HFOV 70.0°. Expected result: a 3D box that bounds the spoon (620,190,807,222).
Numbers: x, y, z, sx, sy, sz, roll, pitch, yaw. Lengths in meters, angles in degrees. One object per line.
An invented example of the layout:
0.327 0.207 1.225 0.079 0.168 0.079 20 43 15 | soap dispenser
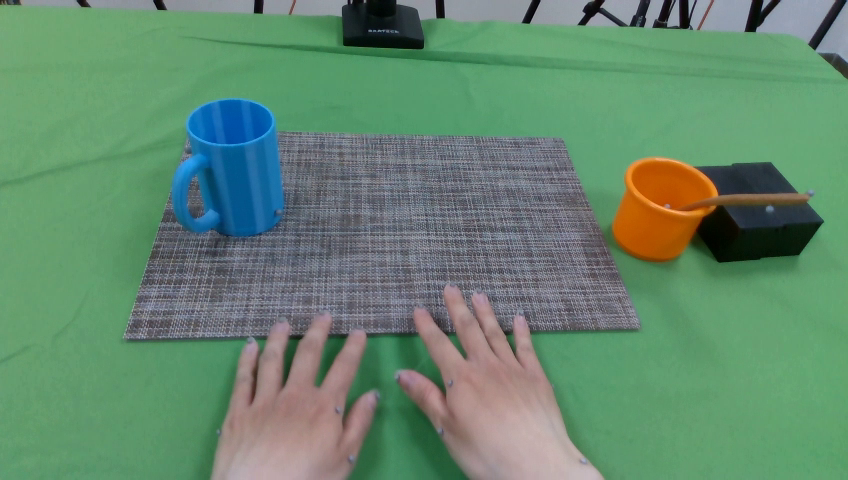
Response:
0.267 -0.034 0.582 0.042 0.193 0.021 -17 93 -27 | spoon

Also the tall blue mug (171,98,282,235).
-0.180 -0.058 0.568 0.078 0.109 0.106 6 44 -2 | tall blue mug
